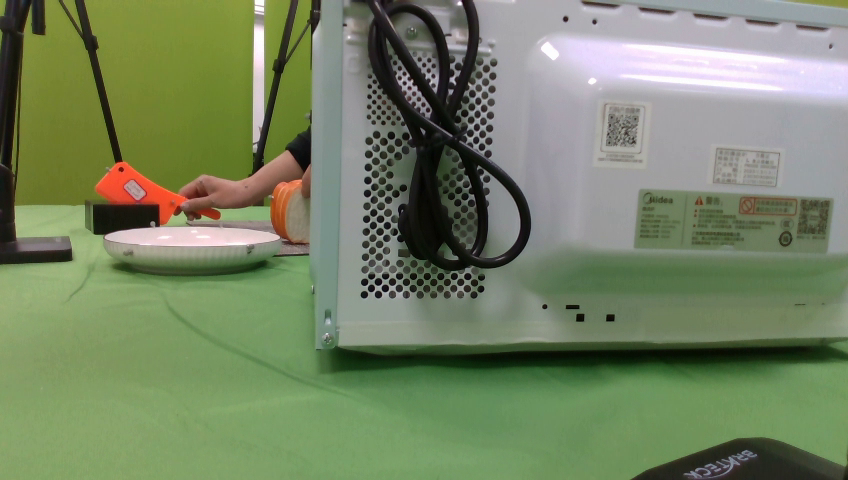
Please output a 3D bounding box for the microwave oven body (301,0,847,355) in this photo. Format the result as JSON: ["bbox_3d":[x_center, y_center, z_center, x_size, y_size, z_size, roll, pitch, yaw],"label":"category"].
[{"bbox_3d":[0.120,-0.053,0.535,0.443,0.260,0.325,2,7,-11],"label":"microwave oven body"}]

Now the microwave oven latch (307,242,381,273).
[{"bbox_3d":[-0.086,0.019,0.656,0.079,0.029,0.030,2,7,-10],"label":"microwave oven latch"}]

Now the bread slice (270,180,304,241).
[{"bbox_3d":[-0.190,-0.050,1.000,0.135,0.107,0.018,-2,11,-40],"label":"bread slice"}]

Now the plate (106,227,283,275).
[{"bbox_3d":[-0.288,0.013,0.772,0.208,0.039,0.207,2,7,0],"label":"plate"}]

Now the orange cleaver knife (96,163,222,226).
[{"bbox_3d":[-0.470,-0.067,1.086,0.212,0.077,0.012,28,-12,-36],"label":"orange cleaver knife"}]

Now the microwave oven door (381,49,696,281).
[{"bbox_3d":[0.135,-0.077,0.685,0.357,0.243,0.039,1,8,-12],"label":"microwave oven door"}]
